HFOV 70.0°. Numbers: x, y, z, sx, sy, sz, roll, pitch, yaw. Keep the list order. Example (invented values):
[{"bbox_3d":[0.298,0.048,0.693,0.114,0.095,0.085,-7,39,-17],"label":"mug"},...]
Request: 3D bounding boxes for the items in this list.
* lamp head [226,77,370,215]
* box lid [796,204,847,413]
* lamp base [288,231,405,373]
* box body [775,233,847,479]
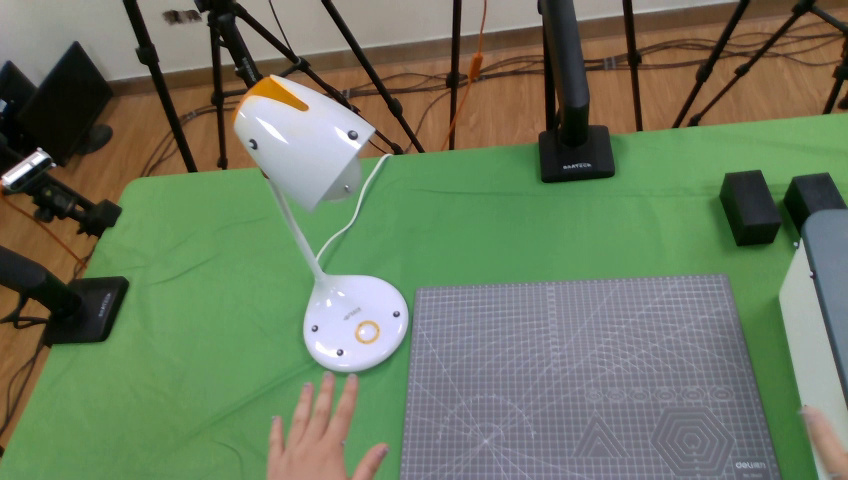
[{"bbox_3d":[-0.133,-0.101,0.607,0.123,0.112,0.112,35,63,-6],"label":"lamp head"},{"bbox_3d":[0.545,0.106,0.595,0.263,0.015,0.368,-1,54,12],"label":"box lid"},{"bbox_3d":[-0.130,0.073,0.851,0.177,0.182,0.160,31,66,33],"label":"lamp base"},{"bbox_3d":[0.557,0.151,0.652,0.253,0.162,0.361,-1,54,12],"label":"box body"}]
